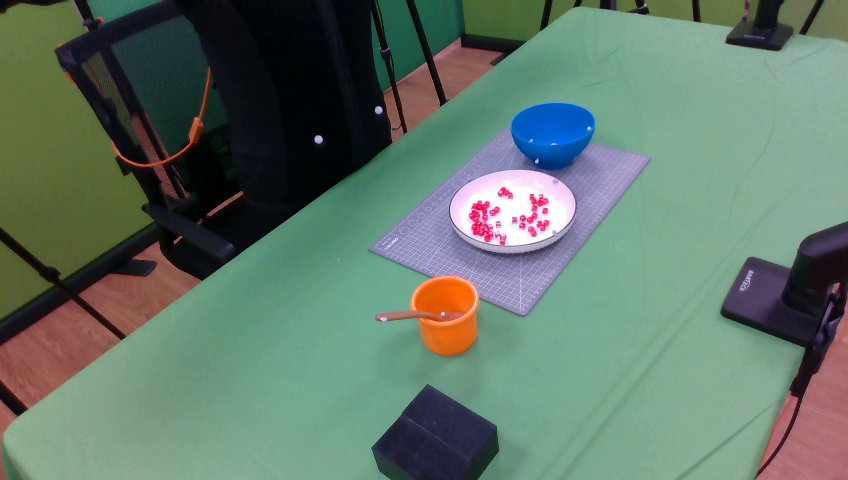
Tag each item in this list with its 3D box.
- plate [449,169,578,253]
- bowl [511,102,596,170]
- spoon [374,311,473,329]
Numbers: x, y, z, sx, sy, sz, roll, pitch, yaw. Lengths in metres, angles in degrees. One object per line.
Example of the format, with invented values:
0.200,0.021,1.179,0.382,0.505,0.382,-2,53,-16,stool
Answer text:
0.146,-0.044,0.993,0.209,0.038,0.208,-5,40,5,plate
0.236,-0.182,1.107,0.151,0.077,0.150,-6,40,5,bowl
0.002,0.099,0.771,0.041,0.195,0.021,26,96,37,spoon
